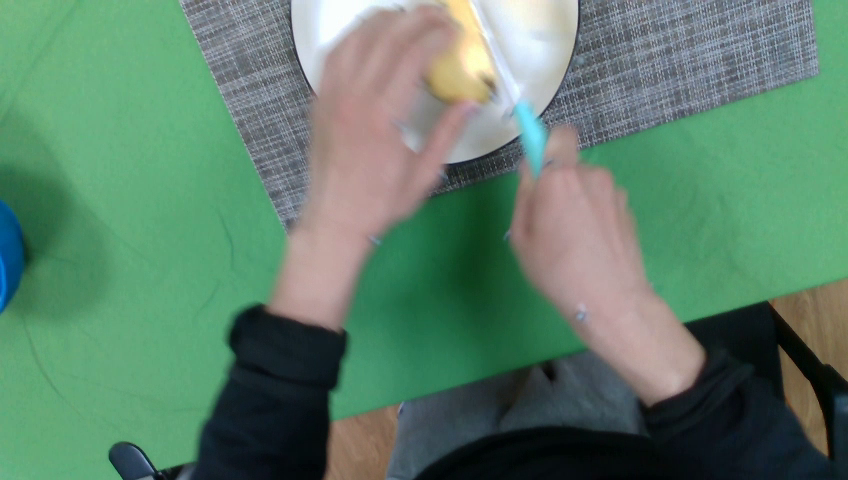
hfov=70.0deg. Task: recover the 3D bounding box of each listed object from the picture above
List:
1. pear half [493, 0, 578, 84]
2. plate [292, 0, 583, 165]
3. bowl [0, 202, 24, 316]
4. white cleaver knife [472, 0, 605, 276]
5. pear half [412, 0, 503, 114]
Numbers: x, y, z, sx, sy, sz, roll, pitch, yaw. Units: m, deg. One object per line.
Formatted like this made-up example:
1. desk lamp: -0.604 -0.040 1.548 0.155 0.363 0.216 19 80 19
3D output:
1. pear half: 0.083 -0.148 0.424 0.031 0.087 0.071 -32 132 -21
2. plate: 0.009 -0.161 0.448 0.207 0.039 0.209 1 112 3
3. bowl: -0.407 0.005 0.520 0.151 0.076 0.152 1 111 3
4. white cleaver knife: 0.063 -0.107 0.418 0.021 0.066 0.287 -23 96 15
5. pear half: 0.024 -0.117 0.413 0.056 0.108 0.077 -22 124 -1
